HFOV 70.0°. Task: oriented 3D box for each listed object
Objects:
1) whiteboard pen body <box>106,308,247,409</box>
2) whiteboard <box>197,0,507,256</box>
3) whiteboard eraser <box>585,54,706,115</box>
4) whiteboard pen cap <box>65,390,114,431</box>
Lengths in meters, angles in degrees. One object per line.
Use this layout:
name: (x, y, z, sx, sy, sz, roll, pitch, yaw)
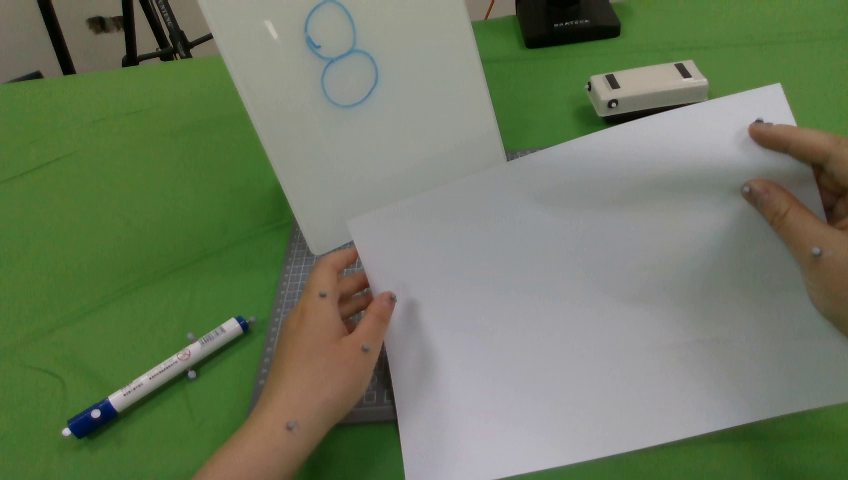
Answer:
whiteboard pen body: (-0.204, 0.098, 0.478, 0.141, 0.017, 0.017, -35, 50, -23)
whiteboard: (-0.081, -0.182, 0.574, 0.217, 0.308, 0.142, -26, 27, -14)
whiteboard eraser: (0.232, -0.162, 0.640, 0.112, 0.042, 0.055, -8, 47, 2)
whiteboard pen cap: (-0.249, 0.127, 0.454, 0.033, 0.018, 0.018, -34, 49, -24)
